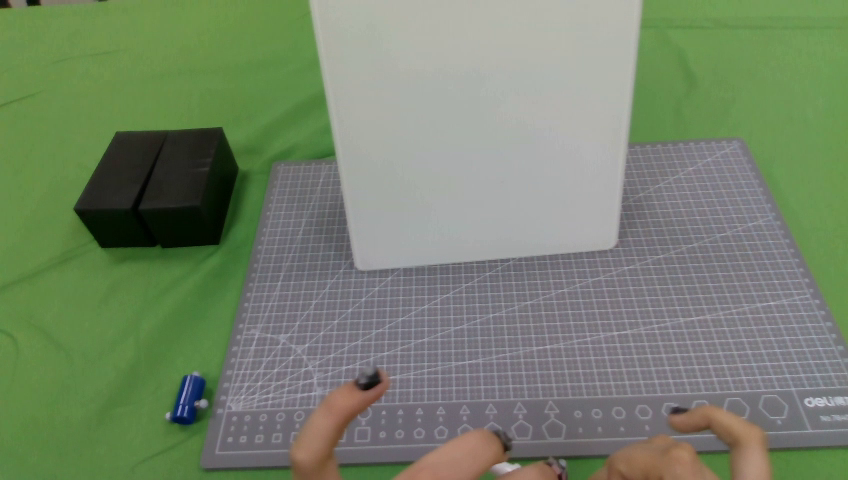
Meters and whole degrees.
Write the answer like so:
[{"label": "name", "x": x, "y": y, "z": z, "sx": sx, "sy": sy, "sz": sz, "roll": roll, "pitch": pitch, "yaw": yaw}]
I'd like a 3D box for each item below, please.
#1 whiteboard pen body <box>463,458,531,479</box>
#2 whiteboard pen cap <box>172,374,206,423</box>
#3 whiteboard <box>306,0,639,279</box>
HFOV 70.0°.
[{"label": "whiteboard pen body", "x": 0.079, "y": 0.138, "z": 0.282, "sx": 0.141, "sy": 0.017, "sz": 0.017, "roll": 31, "pitch": 55, "yaw": -3}, {"label": "whiteboard pen cap", "x": -0.167, "y": 0.113, "z": 0.430, "sx": 0.018, "sy": 0.018, "sz": 0.033, "roll": 0, "pitch": 52, "yaw": 4}, {"label": "whiteboard", "x": 0.035, "y": -0.143, "z": 0.476, "sx": 0.217, "sy": 0.308, "sz": 0.142, "roll": -4, "pitch": 30, "yaw": 2}]
